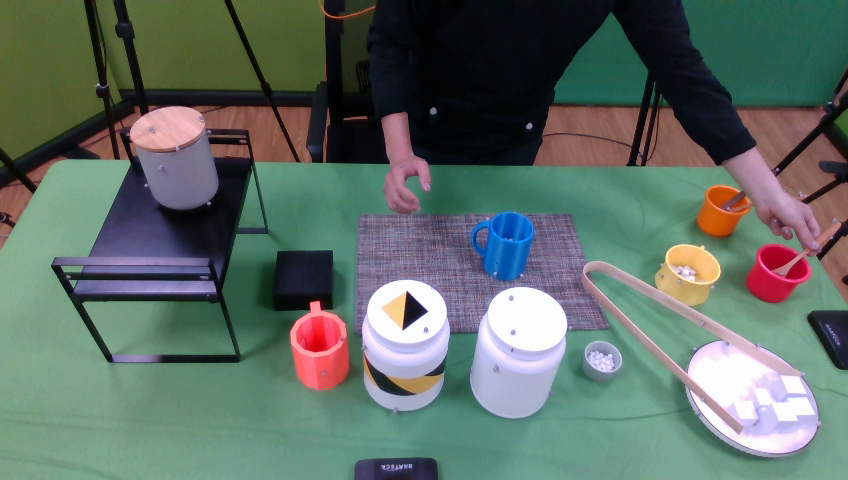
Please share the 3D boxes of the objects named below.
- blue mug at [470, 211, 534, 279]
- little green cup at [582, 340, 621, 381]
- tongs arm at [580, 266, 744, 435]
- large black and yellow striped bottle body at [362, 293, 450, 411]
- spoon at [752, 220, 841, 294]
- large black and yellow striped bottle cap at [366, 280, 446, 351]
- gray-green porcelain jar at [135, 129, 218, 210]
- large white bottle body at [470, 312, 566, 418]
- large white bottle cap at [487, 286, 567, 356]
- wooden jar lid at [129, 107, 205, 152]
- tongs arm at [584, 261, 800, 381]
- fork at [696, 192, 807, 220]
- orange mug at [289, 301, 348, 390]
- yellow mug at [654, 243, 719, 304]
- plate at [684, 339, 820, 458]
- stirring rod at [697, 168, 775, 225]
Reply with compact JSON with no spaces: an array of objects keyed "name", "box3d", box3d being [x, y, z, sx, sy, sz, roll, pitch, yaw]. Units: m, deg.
[{"name":"blue mug","box3d":[0.141,0.005,1.140,0.116,0.106,0.082,18,48,13]},{"name":"little green cup","box3d":[0.295,0.203,1.015,0.061,0.039,0.061,2,45,-2]},{"name":"tongs arm","box3d":[0.384,0.173,1.028,0.028,0.028,0.385,-25,46,-15]},{"name":"large black and yellow striped bottle body","box3d":[-0.029,0.163,0.928,0.131,0.185,0.130,2,47,-2]},{"name":"spoon","box3d":[0.701,0.032,1.137,0.194,0.022,0.041,-46,54,15]},{"name":"large black and yellow striped bottle cap","box3d":[-0.025,0.106,0.865,0.115,0.019,0.114,2,46,-1]},{"name":"gray-green porcelain jar","box3d":[-0.388,-0.120,0.960,0.106,0.127,0.105,2,46,-2]},{"name":"large white bottle body","box3d":[0.143,0.173,0.930,0.131,0.185,0.130,2,46,-2]},{"name":"large white bottle cap","box3d":[0.147,0.114,0.869,0.115,0.018,0.114,3,46,-3]},{"name":"wooden jar lid","box3d":[-0.385,-0.163,0.915,0.108,0.021,0.107,2,47,-2]},{"name":"tongs arm","box3d":[0.452,0.137,1.064,0.051,0.027,0.382,-34,50,-27]},{"name":"fork","box3d":[0.655,-0.069,1.224,0.207,0.019,0.028,-17,30,45]},{"name":"orange mug","box3d":[-0.170,0.162,0.976,0.083,0.101,0.125,-7,52,-11]},{"name":"yellow mug","box3d":[0.504,0.054,1.154,0.099,0.064,0.130,28,50,22]},{"name":"plate","box3d":[0.523,0.256,0.982,0.208,0.039,0.206,2,46,-2]},{"name":"stirring rod","box3d":[0.644,-0.090,1.252,0.176,0.006,0.014,-39,55,17]}]
